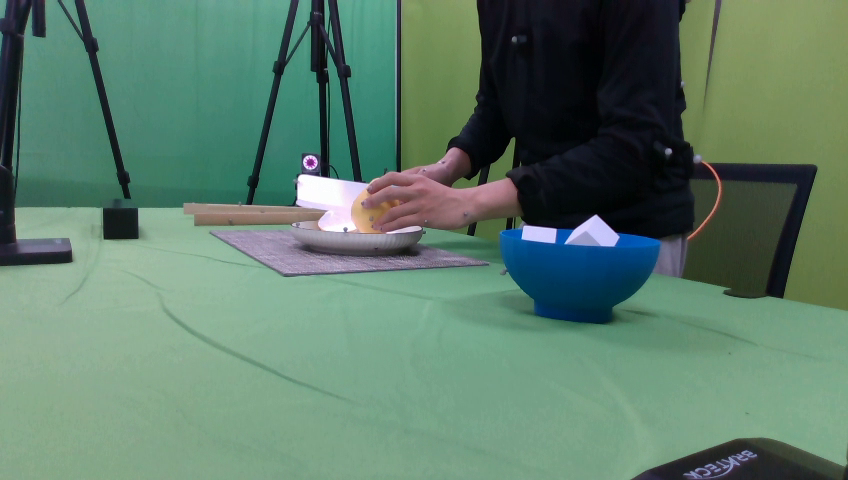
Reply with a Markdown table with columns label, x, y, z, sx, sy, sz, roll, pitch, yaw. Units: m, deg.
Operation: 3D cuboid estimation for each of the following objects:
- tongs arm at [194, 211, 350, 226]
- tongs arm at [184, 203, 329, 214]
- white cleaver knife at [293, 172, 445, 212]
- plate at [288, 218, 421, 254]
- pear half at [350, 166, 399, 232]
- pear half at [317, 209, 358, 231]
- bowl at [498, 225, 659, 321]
| label | x | y | z | sx | sy | sz | roll | pitch | yaw |
| --- | --- | --- | --- | --- | --- | --- | --- | --- | --- |
| tongs arm | -0.298 | -0.049 | 1.308 | 0.390 | 0.028 | 0.028 | -4 | 8 | -38 |
| tongs arm | -0.337 | -0.065 | 1.377 | 0.387 | 0.026 | 0.050 | 0 | 10 | -25 |
| white cleaver knife | -0.086 | -0.072 | 1.023 | 0.288 | 0.065 | 0.021 | 2 | -17 | -33 |
| plate | -0.109 | -0.008 | 0.957 | 0.208 | 0.039 | 0.207 | 2 | 7 | 0 |
| pear half | -0.065 | -0.056 | 0.910 | 0.055 | 0.110 | 0.077 | 35 | 36 | 30 |
| pear half | -0.144 | -0.021 | 1.012 | 0.071 | 0.031 | 0.087 | -2 | 26 | -24 |
| bowl | 0.144 | 0.031 | 0.585 | 0.151 | 0.077 | 0.151 | 2 | 7 | 0 |
